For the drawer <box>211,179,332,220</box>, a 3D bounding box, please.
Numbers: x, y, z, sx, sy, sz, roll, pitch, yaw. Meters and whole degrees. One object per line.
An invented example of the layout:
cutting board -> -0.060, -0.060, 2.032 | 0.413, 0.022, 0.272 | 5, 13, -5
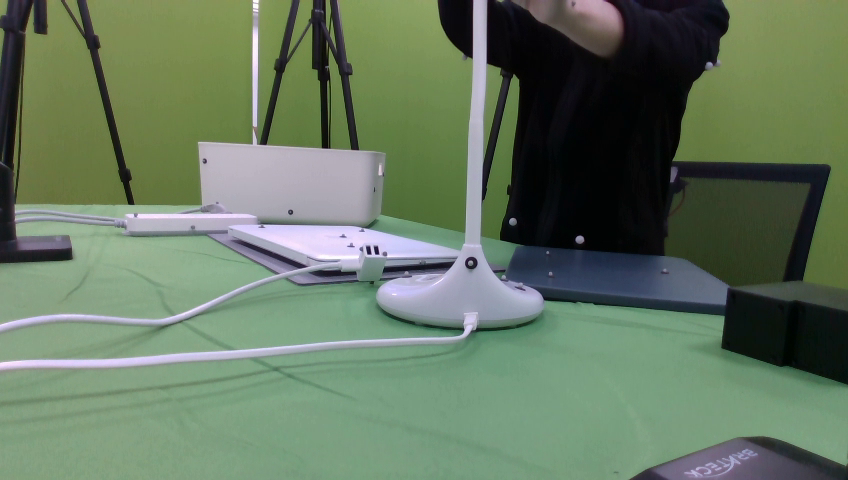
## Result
drawer -> -0.328, -0.095, 1.332 | 0.212, 0.073, 0.194 | 5, 8, 6

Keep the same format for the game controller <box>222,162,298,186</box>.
game controller -> -0.357, -0.143, 1.322 | 0.156, 0.051, 0.097 | 1, 2, -17

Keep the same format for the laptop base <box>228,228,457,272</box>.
laptop base -> -0.122, 0.011, 0.889 | 0.237, 0.023, 0.352 | 2, 6, -35

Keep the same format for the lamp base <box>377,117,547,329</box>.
lamp base -> 0.041, -0.019, 0.552 | 0.161, 0.180, 0.179 | 1, 10, -10

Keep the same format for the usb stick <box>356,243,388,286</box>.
usb stick -> -0.058, 0.029, 0.658 | 0.027, 0.059, 0.021 | -5, 52, -18

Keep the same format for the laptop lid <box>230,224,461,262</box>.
laptop lid -> -0.120, 0.000, 0.889 | 0.243, 0.013, 0.355 | 1, 7, -33

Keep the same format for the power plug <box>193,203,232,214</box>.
power plug -> -0.394, -0.042, 1.139 | 0.072, 0.052, 0.035 | -14, 1, 31

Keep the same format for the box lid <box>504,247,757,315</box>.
box lid -> 0.244, 0.044, 0.793 | 0.263, 0.015, 0.372 | 4, 7, 11

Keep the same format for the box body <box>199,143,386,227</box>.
box body -> -0.276, -0.124, 1.335 | 0.364, 0.160, 0.254 | 3, 7, 1

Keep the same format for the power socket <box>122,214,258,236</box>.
power socket -> -0.399, -0.028, 1.049 | 0.228, 0.032, 0.072 | -3, 8, -34

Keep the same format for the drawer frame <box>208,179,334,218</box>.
drawer frame -> -0.327, -0.093, 1.328 | 0.213, 0.082, 0.202 | 0, 5, 6
